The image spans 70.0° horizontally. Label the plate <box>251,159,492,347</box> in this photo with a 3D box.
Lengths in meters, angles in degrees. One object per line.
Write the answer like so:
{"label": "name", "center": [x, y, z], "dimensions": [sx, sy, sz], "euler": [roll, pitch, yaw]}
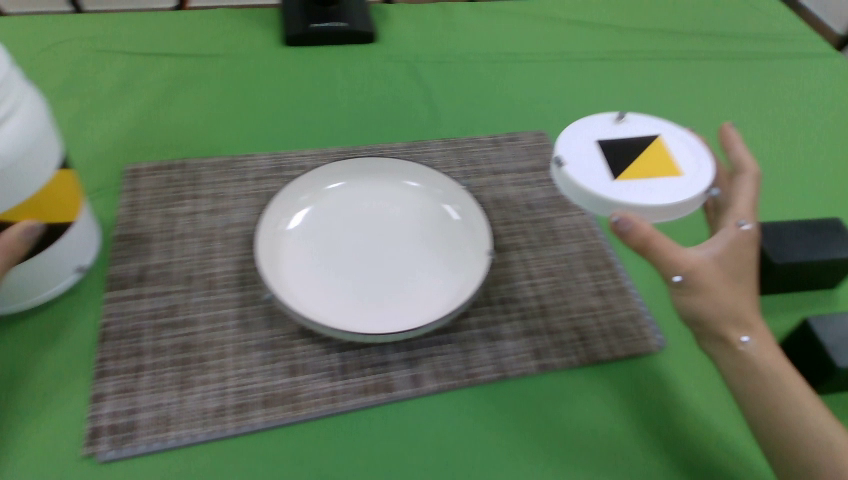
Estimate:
{"label": "plate", "center": [-0.044, 0.009, 0.538], "dimensions": [0.208, 0.039, 0.205], "euler": [4, 48, -4]}

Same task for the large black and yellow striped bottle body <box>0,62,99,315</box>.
{"label": "large black and yellow striped bottle body", "center": [-0.341, -0.045, 0.454], "dimensions": [0.131, 0.185, 0.129], "euler": [3, 48, -4]}

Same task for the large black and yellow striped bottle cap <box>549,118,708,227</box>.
{"label": "large black and yellow striped bottle cap", "center": [0.153, -0.054, 0.456], "dimensions": [0.115, 0.019, 0.114], "euler": [0, 45, 0]}
